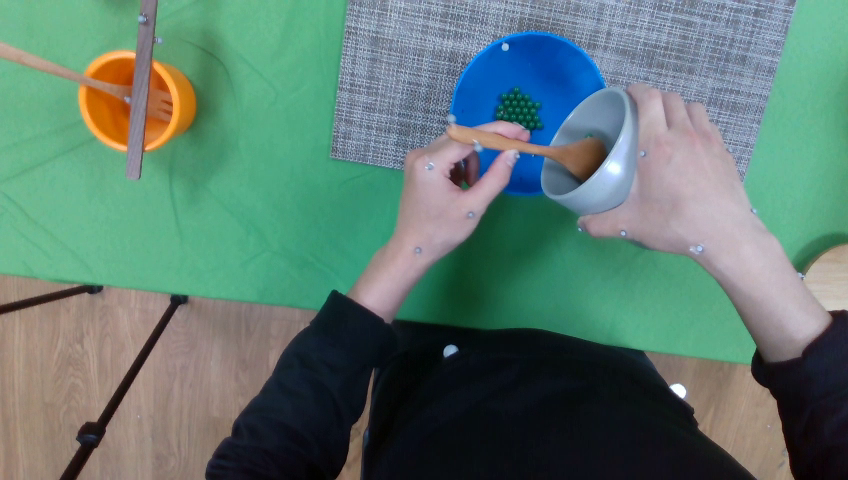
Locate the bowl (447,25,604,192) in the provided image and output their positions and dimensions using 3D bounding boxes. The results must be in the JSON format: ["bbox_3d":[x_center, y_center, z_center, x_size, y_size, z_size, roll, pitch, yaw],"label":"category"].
[{"bbox_3d":[0.095,-0.128,0.598,0.151,0.076,0.152,-1,106,-2],"label":"bowl"}]

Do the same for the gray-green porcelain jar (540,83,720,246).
[{"bbox_3d":[0.183,-0.060,0.533,0.127,0.105,0.106,26,103,-21],"label":"gray-green porcelain jar"}]

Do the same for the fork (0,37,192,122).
[{"bbox_3d":[-0.306,-0.148,0.540,0.209,0.018,0.028,15,112,-51],"label":"fork"}]

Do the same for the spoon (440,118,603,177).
[{"bbox_3d":[0.089,-0.080,0.509,0.195,0.021,0.042,3,102,-33],"label":"spoon"}]

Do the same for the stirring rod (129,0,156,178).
[{"bbox_3d":[-0.252,-0.142,0.542,0.014,0.006,0.177,10,105,-4],"label":"stirring rod"}]

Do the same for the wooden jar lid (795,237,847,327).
[{"bbox_3d":[0.479,0.048,0.700,0.108,0.020,0.109,-1,106,-2],"label":"wooden jar lid"}]
